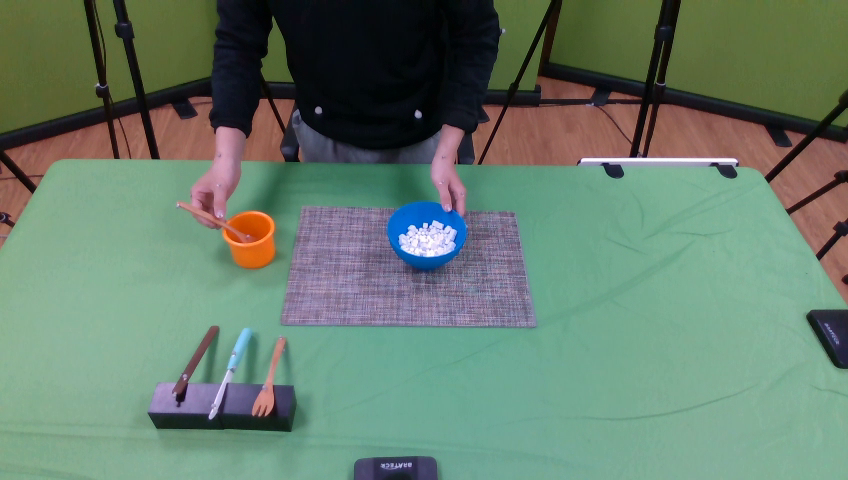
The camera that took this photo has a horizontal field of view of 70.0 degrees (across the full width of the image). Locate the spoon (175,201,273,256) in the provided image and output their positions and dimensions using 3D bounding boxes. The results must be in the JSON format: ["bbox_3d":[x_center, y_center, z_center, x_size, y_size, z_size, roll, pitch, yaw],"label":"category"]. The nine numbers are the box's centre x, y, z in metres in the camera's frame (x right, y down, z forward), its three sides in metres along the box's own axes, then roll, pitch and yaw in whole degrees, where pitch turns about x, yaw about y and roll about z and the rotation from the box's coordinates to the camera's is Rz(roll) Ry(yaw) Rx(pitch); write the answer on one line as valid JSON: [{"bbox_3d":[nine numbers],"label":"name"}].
[{"bbox_3d":[-0.361,-0.022,1.103,0.195,0.021,0.041,36,36,-34],"label":"spoon"}]

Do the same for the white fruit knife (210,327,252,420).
[{"bbox_3d":[-0.298,0.200,0.937,0.016,0.027,0.206,0,30,0],"label":"white fruit knife"}]

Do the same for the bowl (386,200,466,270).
[{"bbox_3d":[0.001,0.003,1.150,0.151,0.077,0.150,2,46,-2],"label":"bowl"}]

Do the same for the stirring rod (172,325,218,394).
[{"bbox_3d":[-0.361,0.185,0.962,0.014,0.006,0.175,1,26,0],"label":"stirring rod"}]

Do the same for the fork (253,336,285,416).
[{"bbox_3d":[-0.235,0.206,0.938,0.028,0.019,0.206,-3,26,-3],"label":"fork"}]
